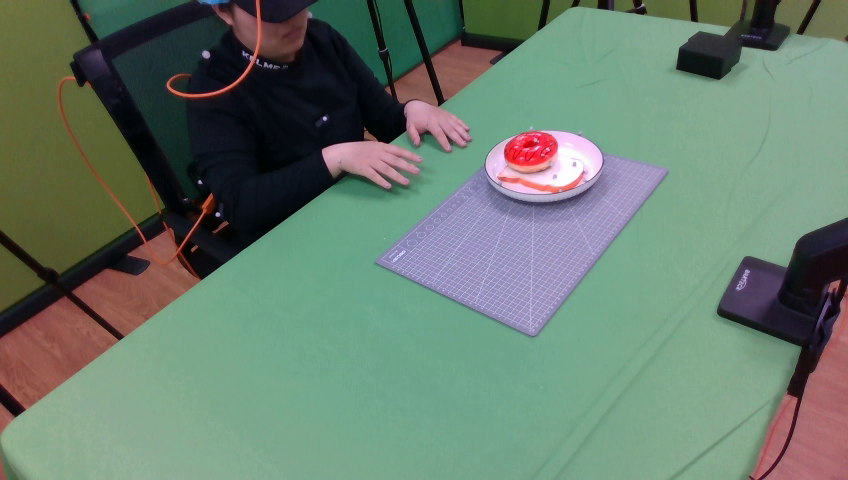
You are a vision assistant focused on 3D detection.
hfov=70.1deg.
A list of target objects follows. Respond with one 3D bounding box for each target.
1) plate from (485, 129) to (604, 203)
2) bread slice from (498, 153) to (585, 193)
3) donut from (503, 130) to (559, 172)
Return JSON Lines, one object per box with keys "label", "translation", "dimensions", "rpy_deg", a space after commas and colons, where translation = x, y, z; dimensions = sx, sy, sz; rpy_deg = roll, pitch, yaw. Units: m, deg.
{"label": "plate", "translation": [0.213, -0.129, 1.079], "dimensions": [0.209, 0.038, 0.208], "rpy_deg": [-5, 40, 5]}
{"label": "bread slice", "translation": [0.216, -0.125, 1.076], "dimensions": [0.133, 0.018, 0.107], "rpy_deg": [16, 48, 28]}
{"label": "donut", "translation": [0.190, -0.158, 1.076], "dimensions": [0.099, 0.048, 0.098], "rpy_deg": [-8, 40, 8]}
